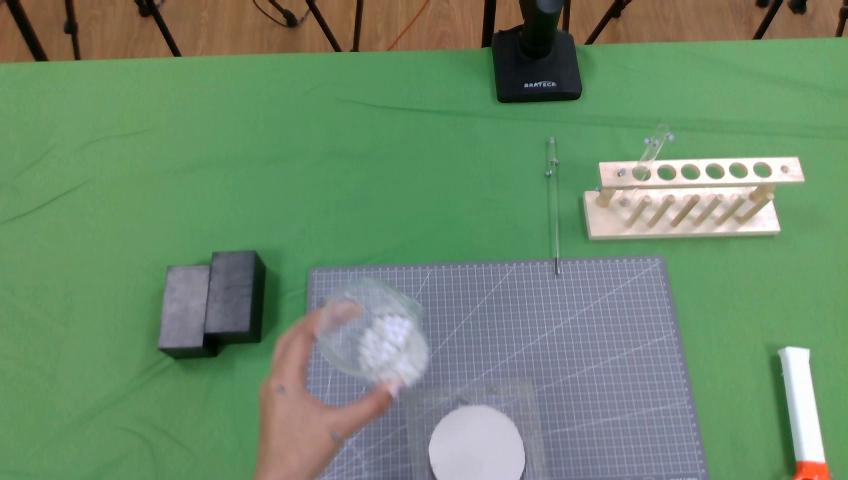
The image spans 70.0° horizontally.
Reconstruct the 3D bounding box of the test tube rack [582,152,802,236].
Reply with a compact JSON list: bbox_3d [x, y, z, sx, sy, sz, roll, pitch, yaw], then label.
[{"bbox_3d":[0.331,-0.056,0.759,0.242,0.086,0.066,-2,66,-1],"label":"test tube rack"}]

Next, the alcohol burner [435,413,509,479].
[{"bbox_3d":[0.051,0.214,0.624,0.078,0.120,0.077,1,65,-1],"label":"alcohol burner"}]

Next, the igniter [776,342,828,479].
[{"bbox_3d":[0.420,0.248,0.661,0.057,0.025,0.274,9,67,-7],"label":"igniter"}]

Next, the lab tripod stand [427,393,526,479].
[{"bbox_3d":[0.047,0.217,0.612,0.148,0.132,0.147,-1,66,2],"label":"lab tripod stand"}]

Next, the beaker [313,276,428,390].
[{"bbox_3d":[-0.036,0.079,0.495,0.084,0.101,0.073,-20,65,1],"label":"beaker"}]

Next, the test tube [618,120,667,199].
[{"bbox_3d":[0.257,-0.091,0.720,0.017,0.151,0.017,0,63,1],"label":"test tube"}]

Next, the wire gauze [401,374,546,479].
[{"bbox_3d":[0.045,0.187,0.551,0.125,0.011,0.120,-5,66,-2],"label":"wire gauze"}]

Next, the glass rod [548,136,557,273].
[{"bbox_3d":[0.170,-0.051,0.797,0.008,0.008,0.198,3,68,1],"label":"glass rod"}]
